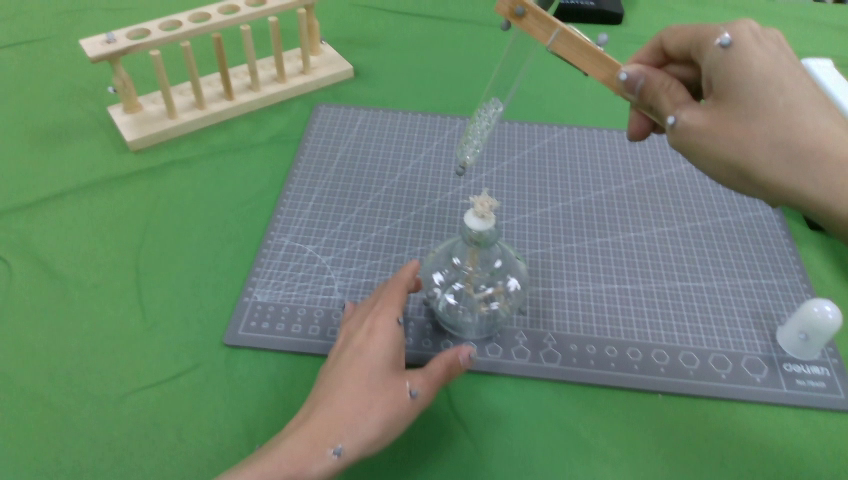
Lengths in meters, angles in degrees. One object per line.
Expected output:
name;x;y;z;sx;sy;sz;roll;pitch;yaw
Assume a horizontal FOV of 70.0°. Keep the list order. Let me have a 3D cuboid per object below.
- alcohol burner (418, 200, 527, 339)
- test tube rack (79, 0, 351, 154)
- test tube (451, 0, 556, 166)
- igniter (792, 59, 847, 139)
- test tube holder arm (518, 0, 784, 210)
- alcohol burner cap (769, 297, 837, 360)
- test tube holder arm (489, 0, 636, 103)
alcohol burner;0.034;0.016;0.420;0.078;0.120;0.077;1;49;0
test tube rack;-0.196;-0.178;0.610;0.242;0.086;0.066;-26;54;-24
test tube;0.051;-0.107;0.335;0.017;0.151;0.017;21;27;-11
igniter;0.392;-0.081;0.526;0.057;0.025;0.273;0;45;1
test tube holder arm;0.110;-0.076;0.319;0.177;0.015;0.013;40;31;11
alcohol burner cap;0.277;0.061;0.439;0.034;0.048;0.033;2;46;-2
test tube holder arm;0.073;-0.103;0.322;0.087;0.015;0.010;37;30;5
